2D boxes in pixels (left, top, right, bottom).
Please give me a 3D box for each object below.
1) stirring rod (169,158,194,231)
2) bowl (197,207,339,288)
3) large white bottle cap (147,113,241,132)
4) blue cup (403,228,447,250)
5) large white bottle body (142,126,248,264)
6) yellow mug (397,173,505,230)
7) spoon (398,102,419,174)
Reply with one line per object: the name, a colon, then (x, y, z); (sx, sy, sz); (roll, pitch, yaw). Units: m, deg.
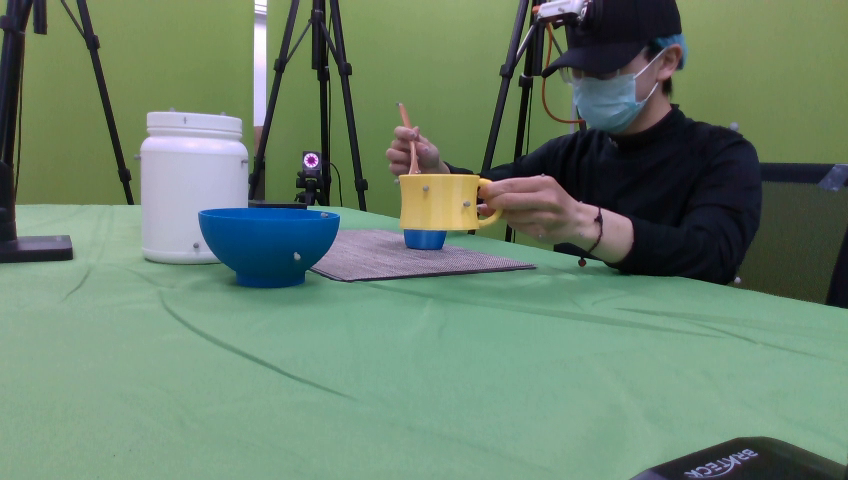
stirring rod: (-0.424, -0.082, 1.060); (0.014, 0.006, 0.175); (2, 50, -10)
bowl: (-0.171, 0.008, 0.671); (0.151, 0.077, 0.151); (2, 7, 0)
large white bottle cap: (-0.297, -0.151, 0.786); (0.115, 0.018, 0.115); (2, 7, 0)
blue cup: (0.003, -0.038, 0.966); (0.093, 0.100, 0.092); (4, 8, 0)
large white bottle body: (-0.300, -0.068, 0.797); (0.131, 0.184, 0.130); (2, 7, 0)
yellow mug: (0.033, -0.047, 0.733); (0.131, 0.064, 0.100); (1, 5, -3)
spoon: (-0.021, -0.147, 0.993); (0.042, 0.193, 0.021); (10, -27, -39)
